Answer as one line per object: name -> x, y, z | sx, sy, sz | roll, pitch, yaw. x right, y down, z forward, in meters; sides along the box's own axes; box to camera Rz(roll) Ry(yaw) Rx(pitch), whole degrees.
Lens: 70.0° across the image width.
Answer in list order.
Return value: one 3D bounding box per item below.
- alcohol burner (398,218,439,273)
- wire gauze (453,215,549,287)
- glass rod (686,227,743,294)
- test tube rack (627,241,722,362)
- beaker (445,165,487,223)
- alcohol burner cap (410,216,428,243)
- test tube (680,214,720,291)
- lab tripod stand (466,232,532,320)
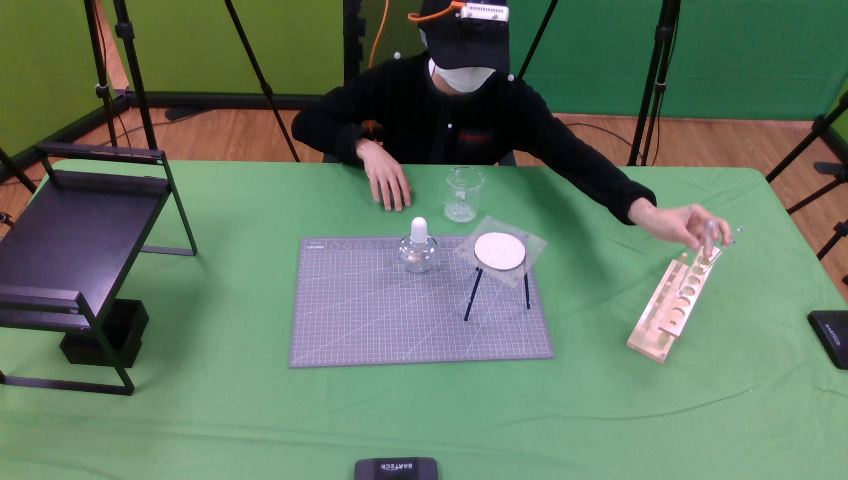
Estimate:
alcohol burner -> -0.010, 0.004, 1.124 | 0.078, 0.120, 0.077 | 1, 47, -1
wire gauze -> 0.129, 0.012, 1.017 | 0.124, 0.011, 0.121 | 28, 50, 23
glass rod -> 0.500, 0.041, 1.053 | 0.008, 0.200, 0.008 | 4, 52, -5
test tube rack -> 0.452, 0.098, 1.086 | 0.066, 0.085, 0.242 | 28, 51, 22
beaker -> 0.082, -0.091, 1.236 | 0.084, 0.101, 0.073 | -7, 47, -11
alcohol burner cap -> -0.009, -0.022, 1.099 | 0.034, 0.048, 0.033 | 2, 42, -1
test tube -> 0.441, 0.023, 0.971 | 0.017, 0.151, 0.017 | 3, 37, -2
lab tripod stand -> 0.125, 0.059, 1.065 | 0.148, 0.132, 0.147 | 1, 45, 0
